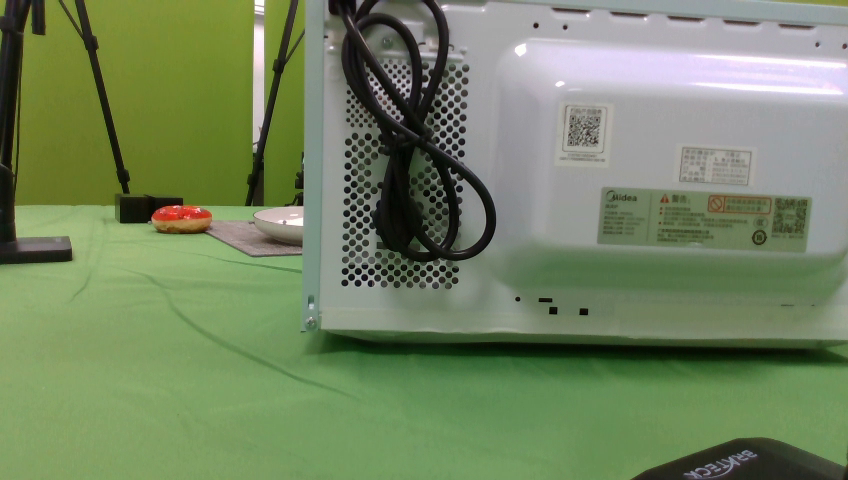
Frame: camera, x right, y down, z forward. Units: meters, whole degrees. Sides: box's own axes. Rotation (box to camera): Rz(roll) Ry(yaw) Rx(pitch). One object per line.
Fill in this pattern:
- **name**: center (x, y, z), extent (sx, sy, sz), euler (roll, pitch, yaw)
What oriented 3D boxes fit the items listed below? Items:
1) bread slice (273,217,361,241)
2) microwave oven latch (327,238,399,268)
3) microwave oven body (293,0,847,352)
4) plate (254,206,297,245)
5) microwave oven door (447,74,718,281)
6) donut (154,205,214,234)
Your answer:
- **bread slice**: center (-0.182, -0.020, 1.009), extent (0.104, 0.019, 0.132), euler (8, 12, 25)
- **microwave oven latch**: center (-0.069, 0.015, 0.694), extent (0.079, 0.029, 0.030), euler (3, 7, -3)
- **microwave oven body**: center (0.122, -0.055, 0.550), extent (0.442, 0.260, 0.325), euler (3, 7, -5)
- **plate**: center (-0.178, -0.023, 1.015), extent (0.208, 0.039, 0.207), euler (3, 12, 0)
- **microwave oven door**: center (0.190, -0.090, 0.811), extent (0.354, 0.243, 0.039), euler (8, 10, 36)
- **donut**: center (-0.426, -0.037, 1.075), extent (0.099, 0.048, 0.099), euler (2, 12, 0)
